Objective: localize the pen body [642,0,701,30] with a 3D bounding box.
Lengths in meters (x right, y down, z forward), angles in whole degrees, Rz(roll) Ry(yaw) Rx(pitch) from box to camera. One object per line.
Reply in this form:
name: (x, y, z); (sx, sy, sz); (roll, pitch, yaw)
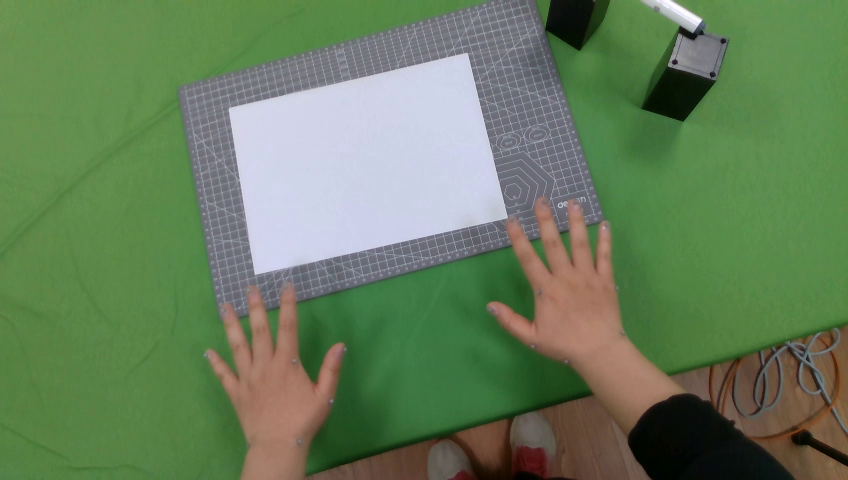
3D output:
pen body: (0.214, -0.257, 0.613); (0.143, 0.017, 0.017); (37, 84, 9)
